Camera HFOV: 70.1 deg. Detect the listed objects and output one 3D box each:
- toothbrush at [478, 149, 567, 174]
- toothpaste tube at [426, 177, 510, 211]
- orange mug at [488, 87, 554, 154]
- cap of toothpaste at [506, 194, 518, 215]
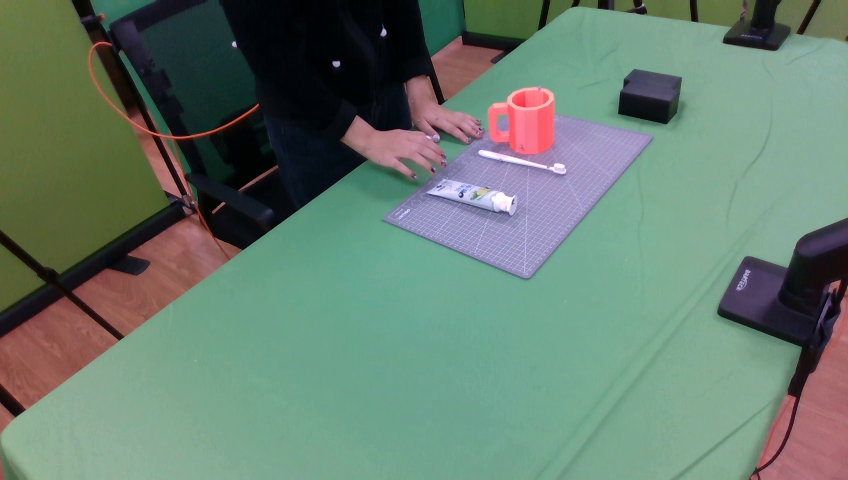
[{"bbox_3d":[0.179,-0.149,1.122,0.180,0.017,0.014,18,62,30],"label":"toothbrush"},{"bbox_3d":[0.083,-0.081,1.054,0.164,0.034,0.055,18,40,34],"label":"toothpaste tube"},{"bbox_3d":[0.185,-0.227,1.151,0.126,0.101,0.083,1,41,5],"label":"orange mug"},{"bbox_3d":[0.146,-0.060,1.008,0.011,0.037,0.037,14,46,22],"label":"cap of toothpaste"}]
